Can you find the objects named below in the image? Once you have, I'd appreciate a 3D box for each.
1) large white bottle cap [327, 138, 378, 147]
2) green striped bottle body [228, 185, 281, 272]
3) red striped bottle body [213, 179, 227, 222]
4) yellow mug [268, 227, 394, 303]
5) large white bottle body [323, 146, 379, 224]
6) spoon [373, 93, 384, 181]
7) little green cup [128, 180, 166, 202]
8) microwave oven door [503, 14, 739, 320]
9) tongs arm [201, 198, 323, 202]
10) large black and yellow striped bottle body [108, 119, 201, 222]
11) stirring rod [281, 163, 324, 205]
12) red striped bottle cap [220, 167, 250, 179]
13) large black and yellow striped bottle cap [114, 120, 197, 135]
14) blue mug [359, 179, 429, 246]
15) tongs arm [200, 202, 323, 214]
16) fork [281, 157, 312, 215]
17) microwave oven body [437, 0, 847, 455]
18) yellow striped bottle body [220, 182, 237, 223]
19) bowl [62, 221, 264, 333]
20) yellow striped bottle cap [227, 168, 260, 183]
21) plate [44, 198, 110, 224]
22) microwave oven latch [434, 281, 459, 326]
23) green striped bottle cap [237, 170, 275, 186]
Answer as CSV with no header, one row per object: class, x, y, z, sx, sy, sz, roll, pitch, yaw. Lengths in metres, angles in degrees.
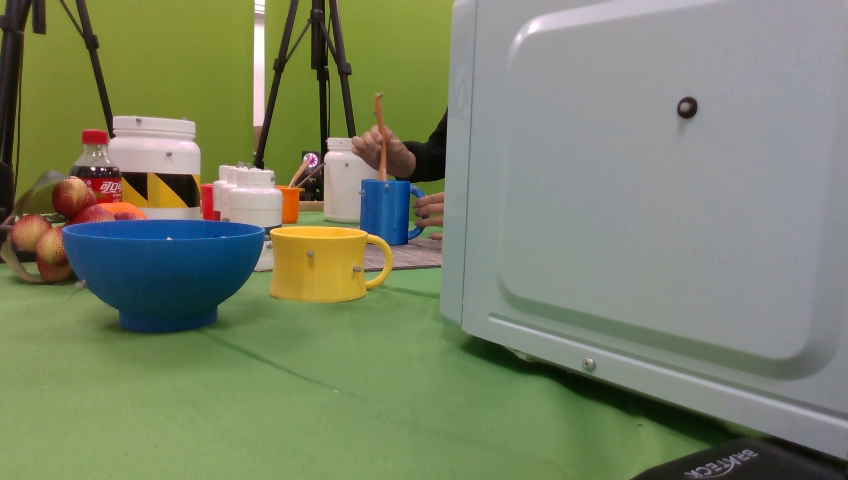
large white bottle cap,-0.160,-0.218,1.357,0.115,0.018,0.115,2,8,0
green striped bottle body,-0.208,-0.023,0.745,0.063,0.119,0.063,2,7,0
red striped bottle body,-0.284,-0.048,0.909,0.063,0.119,0.063,3,10,0
yellow mug,-0.094,0.023,0.629,0.131,0.064,0.099,0,6,-22
large white bottle body,-0.163,-0.134,1.369,0.131,0.184,0.130,2,8,0
spoon,-0.073,-0.143,0.993,0.022,0.193,0.041,0,0,-39
little green cup,-0.485,-0.087,1.062,0.061,0.038,0.061,-1,6,0
microwave oven door,0.218,-0.065,0.600,0.358,0.243,0.039,-4,10,-41
tongs arm,-0.432,-0.090,1.507,0.390,0.028,0.028,-1,3,-30
large black and yellow striped bottle body,-0.412,-0.088,0.930,0.131,0.184,0.130,3,7,0
stirring rod,-0.278,-0.105,1.293,0.176,0.006,0.014,-47,24,-18
red striped bottle cap,-0.281,-0.100,0.901,0.044,0.017,0.044,0,5,0
large black and yellow striped bottle cap,-0.407,-0.171,0.920,0.115,0.019,0.115,2,9,0
blue mug,-0.050,-0.047,1.009,0.116,0.106,0.082,3,7,3
tongs arm,-0.378,-0.079,1.440,0.387,0.026,0.050,-4,8,-44
fork,-0.290,-0.116,1.321,0.028,0.019,0.207,7,52,18
microwave oven body,0.279,-0.040,0.464,0.444,0.260,0.324,-3,9,-41
yellow striped bottle body,-0.246,-0.036,0.825,0.063,0.120,0.063,3,8,0
bowl,-0.209,0.029,0.496,0.151,0.077,0.151,2,7,0
yellow striped bottle cap,-0.243,-0.087,0.818,0.044,0.018,0.044,3,6,0
plate,-0.617,-0.056,1.179,0.209,0.038,0.209,3,7,0
microwave oven latch,0.044,0.045,0.470,0.079,0.029,0.030,-3,8,-40
green striped bottle cap,-0.205,-0.075,0.737,0.044,0.020,0.044,1,6,0
